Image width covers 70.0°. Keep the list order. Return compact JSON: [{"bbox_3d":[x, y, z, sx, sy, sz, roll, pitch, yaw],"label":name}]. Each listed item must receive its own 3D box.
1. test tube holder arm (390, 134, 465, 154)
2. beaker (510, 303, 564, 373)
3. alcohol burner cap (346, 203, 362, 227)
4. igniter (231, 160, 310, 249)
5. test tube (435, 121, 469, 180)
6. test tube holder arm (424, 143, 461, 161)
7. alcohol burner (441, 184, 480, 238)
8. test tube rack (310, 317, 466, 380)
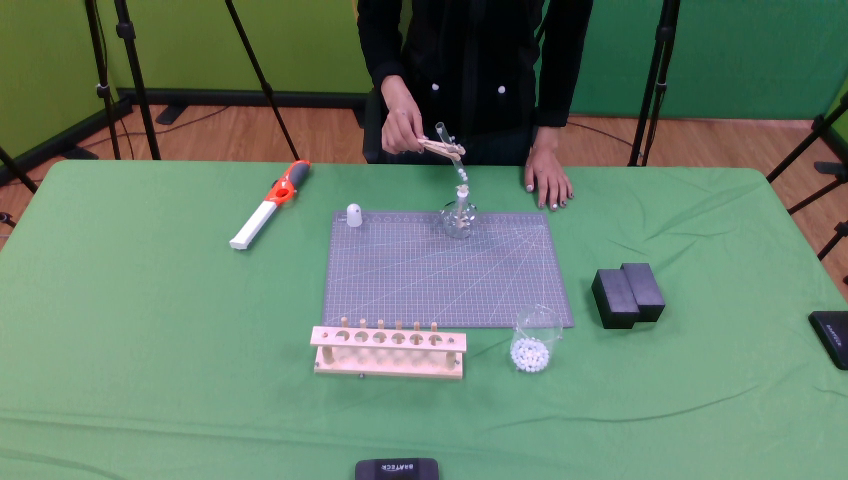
[{"bbox_3d":[0.003,-0.179,1.124,0.177,0.015,0.013,19,68,39],"label":"test tube holder arm"},{"bbox_3d":[0.182,0.164,1.000,0.074,0.101,0.083,2,46,-1],"label":"beaker"},{"bbox_3d":[-0.141,-0.053,1.222,0.034,0.048,0.033,2,47,-2],"label":"alcohol burner cap"},{"bbox_3d":[-0.311,-0.081,1.250,0.057,0.025,0.275,9,45,18],"label":"igniter"},{"bbox_3d":[0.052,-0.156,1.083,0.017,0.151,0.017,-12,53,17],"label":"test tube"},{"bbox_3d":[0.032,-0.162,1.093,0.087,0.015,0.010,30,75,42],"label":"test tube holder arm"},{"bbox_3d":[0.073,-0.061,1.195,0.078,0.120,0.077,1,47,0],"label":"alcohol burner"},{"bbox_3d":[-0.056,0.171,0.987,0.242,0.085,0.066,3,45,-1],"label":"test tube rack"}]
